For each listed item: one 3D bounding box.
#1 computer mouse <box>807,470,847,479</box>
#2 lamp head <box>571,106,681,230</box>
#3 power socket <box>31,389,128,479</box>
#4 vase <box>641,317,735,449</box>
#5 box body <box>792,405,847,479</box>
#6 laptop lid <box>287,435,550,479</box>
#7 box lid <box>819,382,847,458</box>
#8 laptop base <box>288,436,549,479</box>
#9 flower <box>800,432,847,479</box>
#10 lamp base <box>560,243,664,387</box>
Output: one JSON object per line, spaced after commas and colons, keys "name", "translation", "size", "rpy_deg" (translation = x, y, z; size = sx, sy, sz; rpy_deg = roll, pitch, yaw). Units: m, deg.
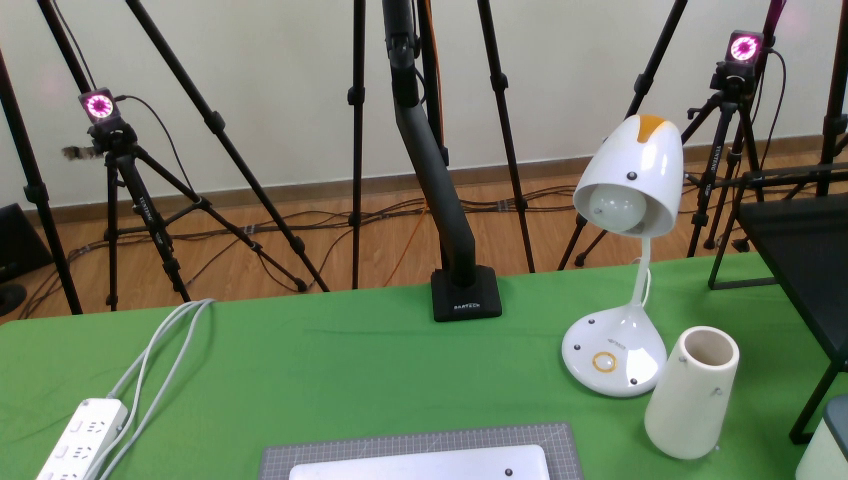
{"name": "computer mouse", "translation": [0.526, 0.332, 0.737], "size": [0.063, 0.041, 0.116], "rpy_deg": [-11, 35, 1]}
{"name": "lamp head", "translation": [0.238, -0.086, 0.684], "size": [0.112, 0.113, 0.122], "rpy_deg": [17, 65, 23]}
{"name": "power socket", "translation": [-0.508, 0.314, 0.880], "size": [0.072, 0.033, 0.224], "rpy_deg": [1, 42, 6]}
{"name": "vase", "translation": [0.348, 0.190, 0.802], "size": [0.098, 0.202, 0.097], "rpy_deg": [-4, 41, 4]}
{"name": "box body", "translation": [0.600, 0.343, 0.635], "size": [0.254, 0.162, 0.360], "rpy_deg": [-5, 42, 2]}
{"name": "laptop lid", "translation": [-0.007, 0.366, 0.763], "size": [0.357, 0.013, 0.239], "rpy_deg": [-4, 44, 2]}
{"name": "box lid", "translation": [0.594, 0.286, 0.586], "size": [0.263, 0.015, 0.367], "rpy_deg": [-4, 42, 1]}
{"name": "laptop base", "translation": [-0.006, 0.373, 0.773], "size": [0.354, 0.023, 0.233], "rpy_deg": [-5, 45, 0]}
{"name": "flower", "translation": [0.527, 0.383, 0.660], "size": [0.038, 0.044, 0.357], "rpy_deg": [-40, 44, 29]}
{"name": "lamp base", "translation": [0.298, 0.101, 0.920], "size": [0.159, 0.182, 0.178], "rpy_deg": [20, 45, 25]}
